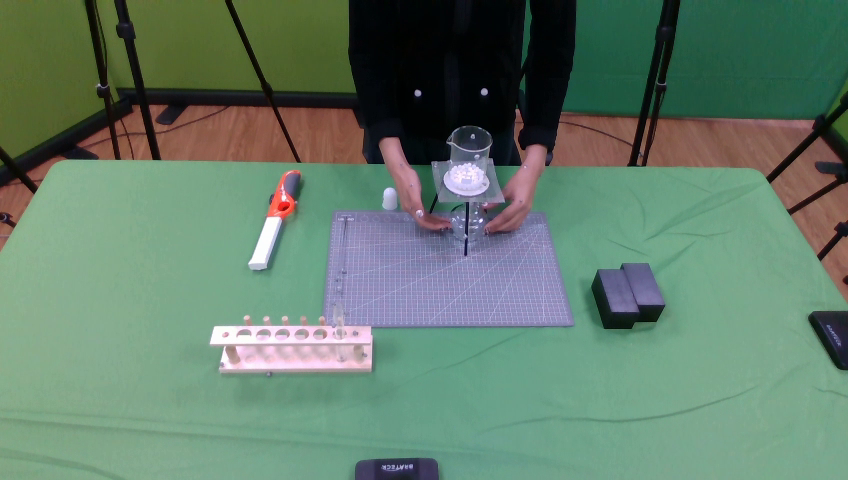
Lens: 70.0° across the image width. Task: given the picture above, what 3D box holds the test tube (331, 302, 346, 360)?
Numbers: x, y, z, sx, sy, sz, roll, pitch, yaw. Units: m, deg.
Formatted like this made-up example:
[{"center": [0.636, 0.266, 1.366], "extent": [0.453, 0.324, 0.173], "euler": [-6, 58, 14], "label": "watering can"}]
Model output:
[{"center": [-0.132, 0.144, 0.938], "extent": [0.017, 0.151, 0.017], "euler": [2, 49, -3], "label": "test tube"}]

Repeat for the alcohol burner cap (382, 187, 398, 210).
[{"center": [-0.072, -0.090, 1.267], "extent": [0.034, 0.048, 0.033], "euler": [2, 47, -2], "label": "alcohol burner cap"}]

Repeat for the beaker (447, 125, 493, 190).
[{"center": [0.079, -0.148, 1.106], "extent": [0.084, 0.101, 0.073], "euler": [-3, 47, -7], "label": "beaker"}]

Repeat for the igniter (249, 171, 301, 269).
[{"center": [-0.297, -0.049, 1.220], "extent": [0.057, 0.025, 0.275], "euler": [-1, 45, 9], "label": "igniter"}]

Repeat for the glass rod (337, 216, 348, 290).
[{"center": [-0.158, 0.021, 1.171], "extent": [0.008, 0.008, 0.198], "euler": [1, 43, -2], "label": "glass rod"}]

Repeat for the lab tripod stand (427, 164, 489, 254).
[{"center": [0.077, -0.068, 1.187], "extent": [0.148, 0.132, 0.147], "euler": [3, 47, -3], "label": "lab tripod stand"}]

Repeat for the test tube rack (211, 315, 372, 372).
[{"center": [-0.208, 0.163, 0.982], "extent": [0.242, 0.085, 0.066], "euler": [1, 46, -4], "label": "test tube rack"}]

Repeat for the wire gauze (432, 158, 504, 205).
[{"center": [0.081, -0.111, 1.138], "extent": [0.125, 0.011, 0.120], "euler": [0, 49, -7], "label": "wire gauze"}]

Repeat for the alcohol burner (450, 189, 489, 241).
[{"center": [0.090, -0.055, 1.189], "extent": [0.078, 0.120, 0.077], "euler": [1, 49, -1], "label": "alcohol burner"}]
